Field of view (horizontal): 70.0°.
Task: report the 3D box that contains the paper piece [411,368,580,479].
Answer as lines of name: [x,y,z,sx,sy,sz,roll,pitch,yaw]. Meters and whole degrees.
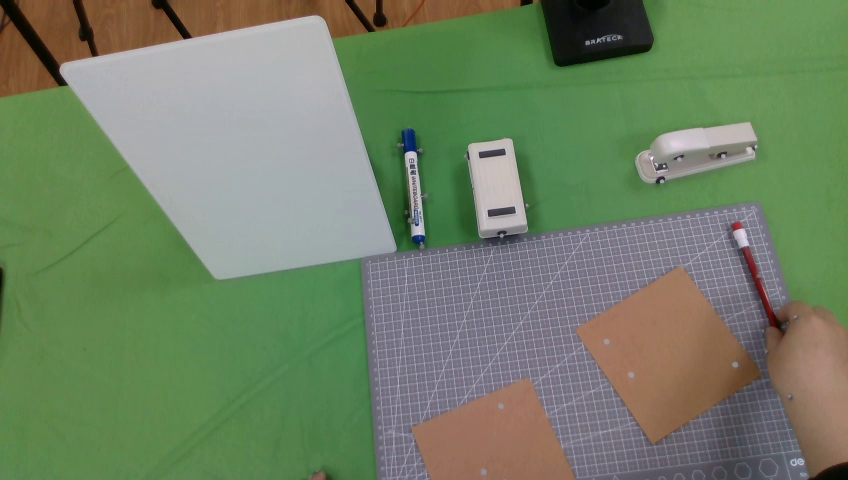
paper piece: [0.072,0.217,0.614,0.135,0.004,0.135,-22,72,-2]

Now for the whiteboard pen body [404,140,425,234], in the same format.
whiteboard pen body: [-0.012,-0.074,0.713,0.017,0.017,0.140,-7,72,4]

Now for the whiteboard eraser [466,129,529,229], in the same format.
whiteboard eraser: [0.083,-0.069,0.688,0.055,0.042,0.112,-9,72,5]

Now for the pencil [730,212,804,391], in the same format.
pencil: [0.357,0.060,0.630,0.012,0.012,0.193,-14,74,2]

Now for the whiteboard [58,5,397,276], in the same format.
whiteboard: [-0.163,-0.120,0.625,0.217,0.308,0.142,-8,52,4]

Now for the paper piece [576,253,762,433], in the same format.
paper piece: [0.251,0.104,0.629,0.136,0.009,0.137,-31,74,1]

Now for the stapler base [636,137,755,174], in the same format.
stapler base: [0.309,-0.109,0.685,0.130,0.024,0.041,-13,74,0]

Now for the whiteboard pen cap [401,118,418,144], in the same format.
whiteboard pen cap: [-0.017,-0.129,0.730,0.018,0.018,0.033,-10,70,4]

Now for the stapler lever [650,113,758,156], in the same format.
stapler lever: [0.308,-0.117,0.662,0.118,0.040,0.026,-14,73,1]
